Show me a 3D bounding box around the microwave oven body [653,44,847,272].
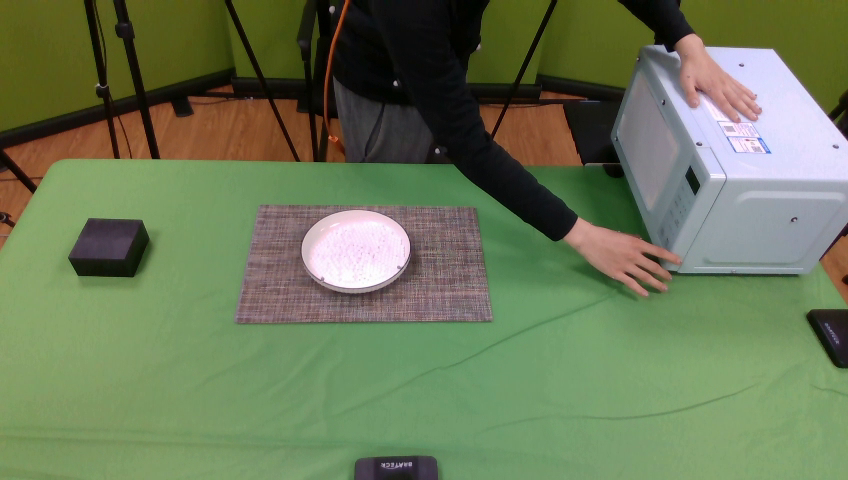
[{"bbox_3d":[0.620,-0.172,1.234,0.326,0.261,0.439,0,46,-3],"label":"microwave oven body"}]

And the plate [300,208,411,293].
[{"bbox_3d":[-0.129,0.023,1.149,0.209,0.038,0.208,2,47,-2],"label":"plate"}]

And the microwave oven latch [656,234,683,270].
[{"bbox_3d":[0.474,0.022,1.175,0.030,0.029,0.078,3,46,0],"label":"microwave oven latch"}]

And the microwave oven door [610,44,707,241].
[{"bbox_3d":[0.473,-0.208,1.250,0.039,0.245,0.353,0,47,-3],"label":"microwave oven door"}]
